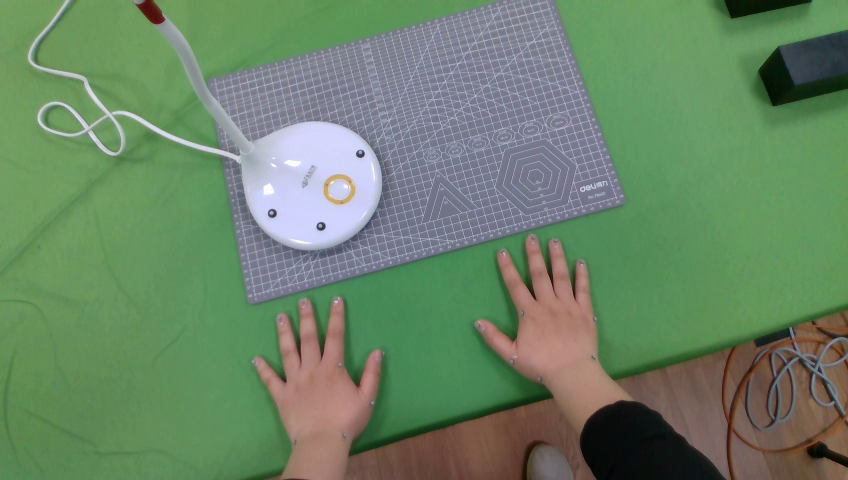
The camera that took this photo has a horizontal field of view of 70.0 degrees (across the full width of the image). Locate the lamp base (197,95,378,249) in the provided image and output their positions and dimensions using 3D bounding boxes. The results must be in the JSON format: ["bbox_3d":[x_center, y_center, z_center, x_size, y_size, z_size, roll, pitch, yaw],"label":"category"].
[{"bbox_3d":[-0.152,-0.089,0.641,0.179,0.181,0.160,11,76,10],"label":"lamp base"}]
